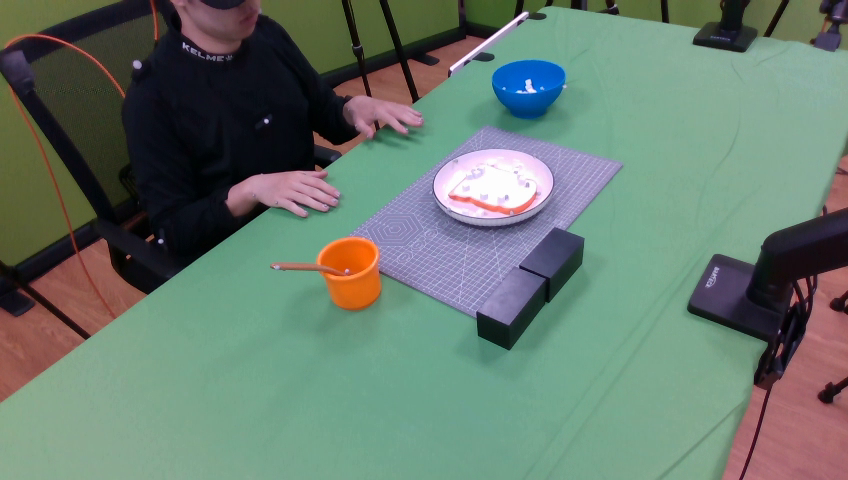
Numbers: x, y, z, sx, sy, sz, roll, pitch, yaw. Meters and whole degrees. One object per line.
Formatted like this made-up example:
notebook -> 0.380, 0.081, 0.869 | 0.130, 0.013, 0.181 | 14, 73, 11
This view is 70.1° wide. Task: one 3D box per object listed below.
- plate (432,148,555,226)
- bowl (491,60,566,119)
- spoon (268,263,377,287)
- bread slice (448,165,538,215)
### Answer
plate -> 0.120, -0.087, 1.037 | 0.209, 0.038, 0.208 | -4, 40, 4
bowl -> 0.215, -0.302, 1.248 | 0.151, 0.077, 0.150 | -4, 40, 4
spoon -> -0.137, 0.045, 0.839 | 0.041, 0.195, 0.021 | 28, 96, 38
bread slice -> 0.126, -0.085, 1.037 | 0.133, 0.018, 0.107 | 17, 45, 27
